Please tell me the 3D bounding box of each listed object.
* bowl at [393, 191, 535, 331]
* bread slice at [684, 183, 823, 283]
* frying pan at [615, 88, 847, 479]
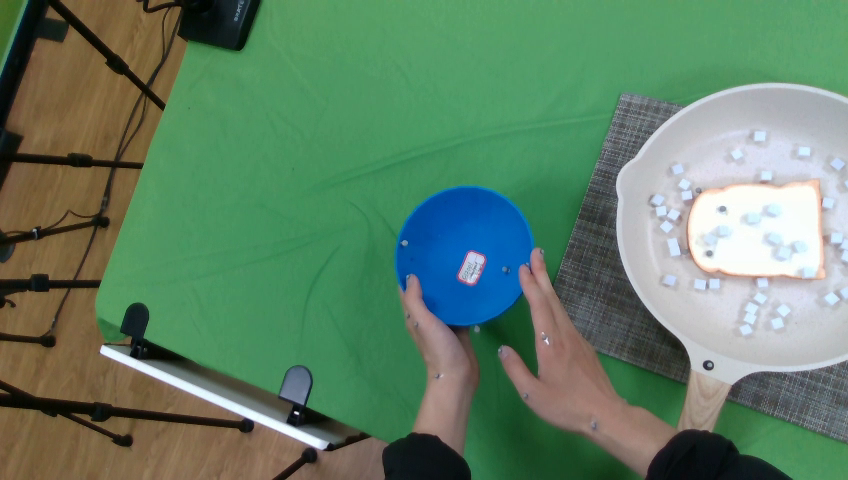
[{"bbox_3d":[0.049,0.029,0.662,0.151,0.077,0.150,-4,75,15],"label":"bowl"},{"bbox_3d":[0.355,-0.004,0.656,0.134,0.018,0.106,-3,80,13],"label":"bread slice"},{"bbox_3d":[0.308,0.084,0.614,0.305,0.103,0.486,22,79,19],"label":"frying pan"}]
